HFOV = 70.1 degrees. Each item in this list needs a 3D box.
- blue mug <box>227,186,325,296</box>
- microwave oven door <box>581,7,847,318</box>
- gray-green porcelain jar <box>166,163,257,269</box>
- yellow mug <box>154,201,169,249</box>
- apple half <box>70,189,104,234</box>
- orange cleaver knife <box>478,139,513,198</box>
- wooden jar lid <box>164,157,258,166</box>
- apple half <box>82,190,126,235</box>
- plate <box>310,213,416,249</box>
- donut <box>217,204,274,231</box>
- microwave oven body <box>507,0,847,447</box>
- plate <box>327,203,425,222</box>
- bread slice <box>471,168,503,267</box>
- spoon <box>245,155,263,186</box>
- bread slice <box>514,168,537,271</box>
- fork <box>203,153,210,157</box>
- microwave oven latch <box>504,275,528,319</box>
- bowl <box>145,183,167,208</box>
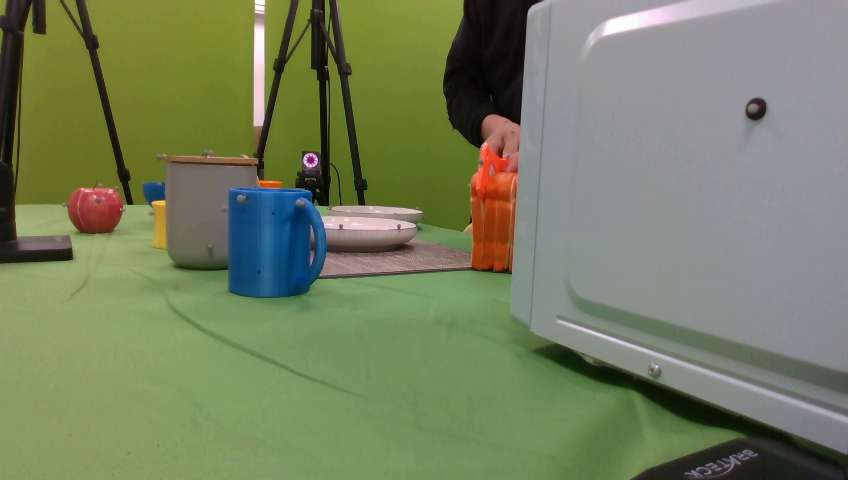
[{"bbox_3d":[-0.146,0.000,0.618,0.116,0.106,0.083,7,9,32],"label":"blue mug"},{"bbox_3d":[0.295,-0.067,0.569,0.358,0.243,0.039,-3,8,-31],"label":"microwave oven door"},{"bbox_3d":[-0.263,-0.031,0.754,0.106,0.126,0.106,2,7,0],"label":"gray-green porcelain jar"},{"bbox_3d":[-0.338,-0.022,0.899,0.130,0.064,0.100,8,9,35],"label":"yellow mug"},{"bbox_3d":[-0.552,-0.048,1.009,0.053,0.074,0.081,-1,9,26],"label":"apple half"},{"bbox_3d":[0.106,-0.098,0.859,0.012,0.077,0.212,2,5,20],"label":"orange cleaver knife"},{"bbox_3d":[-0.261,-0.093,0.746,0.108,0.020,0.108,0,9,0],"label":"wooden jar lid"},{"bbox_3d":[-0.516,-0.046,0.994,0.032,0.081,0.081,0,6,26],"label":"apple half"},{"bbox_3d":[-0.117,-0.014,0.967,0.208,0.039,0.207,2,7,0],"label":"plate"},{"bbox_3d":[-0.317,-0.038,1.080,0.099,0.048,0.099,3,7,0],"label":"donut"},{"bbox_3d":[0.331,-0.042,0.425,0.444,0.260,0.324,-2,8,-31],"label":"microwave oven body"},{"bbox_3d":[-0.102,-0.053,1.299,0.209,0.038,0.209,2,8,0],"label":"plate"},{"bbox_3d":[0.087,-0.035,0.838,0.019,0.131,0.105,-4,6,20],"label":"bread slice"},{"bbox_3d":[-0.421,-0.150,1.540,0.042,0.021,0.193,-5,55,-37],"label":"spoon"},{"bbox_3d":[0.138,-0.030,0.822,0.018,0.134,0.107,0,10,18],"label":"bread slice"},{"bbox_3d":[-0.480,-0.136,1.411,0.028,0.018,0.207,0,-34,-1],"label":"fork"},{"bbox_3d":[0.100,0.042,0.470,0.079,0.029,0.030,-1,7,-28],"label":"microwave oven latch"},{"bbox_3d":[-0.459,-0.068,1.175,0.151,0.077,0.151,3,7,0],"label":"bowl"}]
